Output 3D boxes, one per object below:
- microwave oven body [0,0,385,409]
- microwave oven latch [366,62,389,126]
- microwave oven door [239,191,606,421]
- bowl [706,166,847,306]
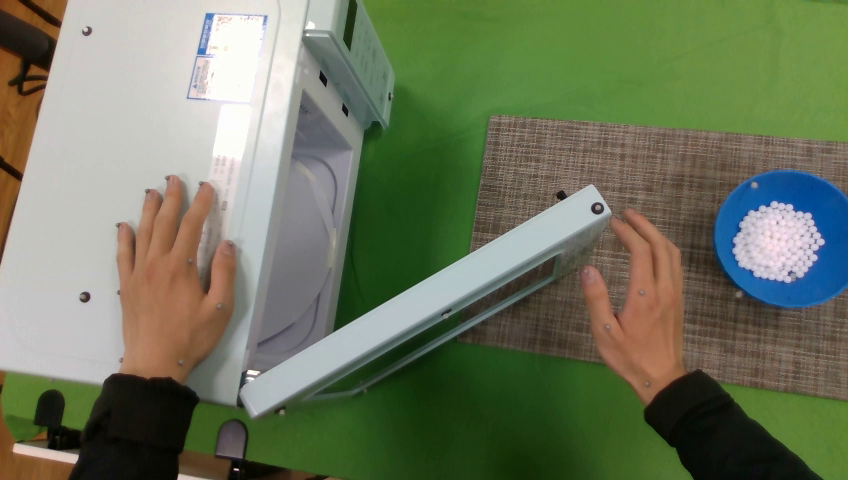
[{"bbox_3d":[-0.247,-0.053,0.701,0.325,0.261,0.440,5,80,10],"label":"microwave oven body"},{"bbox_3d":[-0.064,-0.193,0.798,0.030,0.029,0.079,5,81,10],"label":"microwave oven latch"},{"bbox_3d":[0.015,0.079,0.627,0.356,0.245,0.039,-31,74,2],"label":"microwave oven door"},{"bbox_3d":[0.387,0.002,0.678,0.151,0.077,0.150,-2,79,10],"label":"bowl"}]
